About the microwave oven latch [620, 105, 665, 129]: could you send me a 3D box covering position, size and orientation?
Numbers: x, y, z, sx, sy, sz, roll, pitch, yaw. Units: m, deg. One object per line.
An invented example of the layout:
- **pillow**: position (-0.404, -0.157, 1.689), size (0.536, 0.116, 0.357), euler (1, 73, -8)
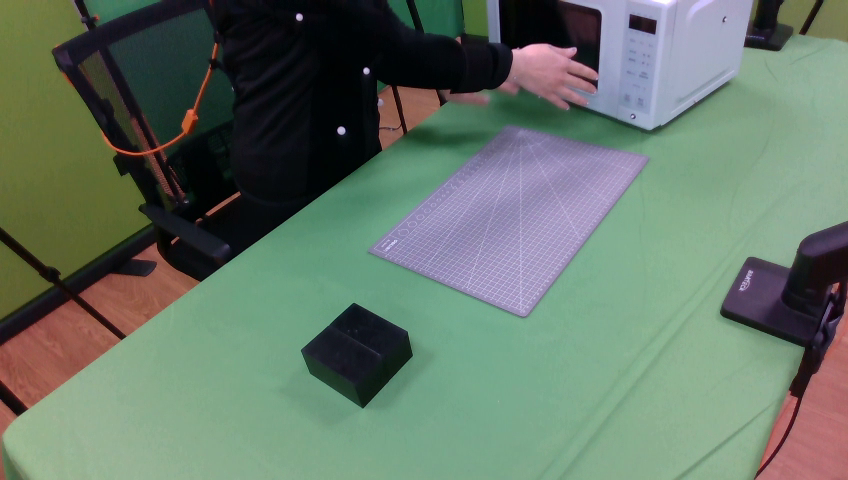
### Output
- **microwave oven latch**: position (0.413, -0.237, 1.146), size (0.030, 0.029, 0.078), euler (-31, 44, -23)

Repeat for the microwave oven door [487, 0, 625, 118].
- **microwave oven door**: position (0.262, -0.410, 1.221), size (0.039, 0.245, 0.352), euler (-33, 45, -25)

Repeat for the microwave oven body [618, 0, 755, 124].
- **microwave oven body**: position (0.402, -0.458, 1.259), size (0.327, 0.261, 0.437), euler (-33, 45, -24)
